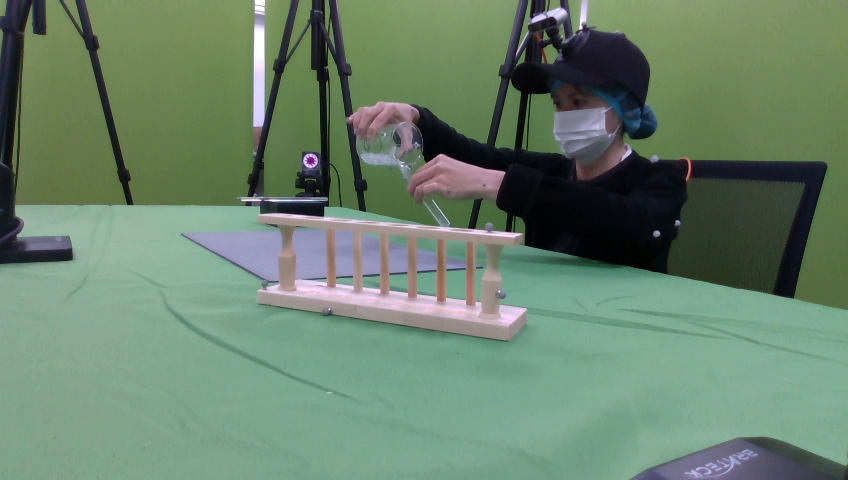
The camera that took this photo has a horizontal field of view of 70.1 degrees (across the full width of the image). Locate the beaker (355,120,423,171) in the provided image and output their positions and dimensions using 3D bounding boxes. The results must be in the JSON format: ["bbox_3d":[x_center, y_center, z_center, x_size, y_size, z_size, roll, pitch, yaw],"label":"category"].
[{"bbox_3d":[-0.063,-0.161,1.030,0.074,0.084,0.100,2,5,-45],"label":"beaker"}]

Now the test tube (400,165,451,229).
[{"bbox_3d":[0.002,-0.067,0.962,0.017,0.017,0.149,-3,47,-39],"label":"test tube"}]

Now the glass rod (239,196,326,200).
[{"bbox_3d":[-0.288,-0.087,1.250,0.201,0.008,0.008,-4,10,-42],"label":"glass rod"}]

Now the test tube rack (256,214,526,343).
[{"bbox_3d":[-0.032,0.027,0.547,0.241,0.085,0.067,5,7,22],"label":"test tube rack"}]
